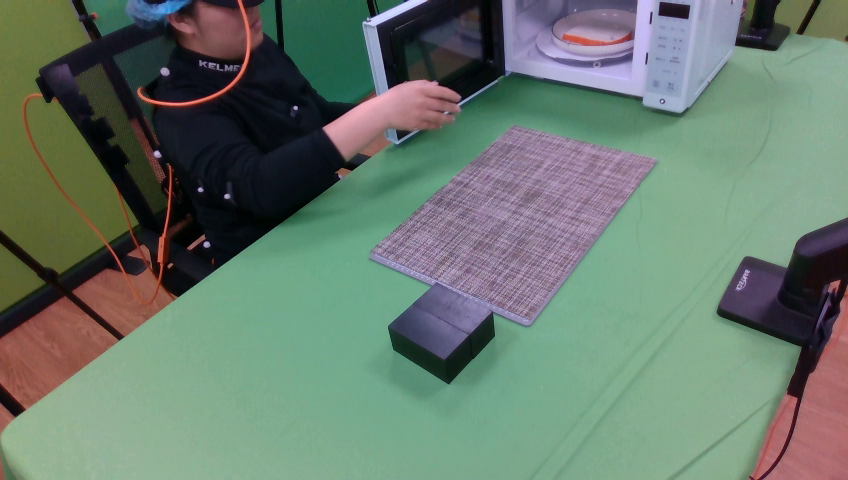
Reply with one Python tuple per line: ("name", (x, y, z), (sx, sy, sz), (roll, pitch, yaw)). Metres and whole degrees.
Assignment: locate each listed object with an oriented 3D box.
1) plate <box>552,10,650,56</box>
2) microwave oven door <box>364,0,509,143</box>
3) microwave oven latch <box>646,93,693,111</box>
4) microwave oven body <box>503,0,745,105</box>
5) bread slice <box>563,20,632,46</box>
("plate", (0.390, -0.455, 1.339), (0.209, 0.038, 0.208), (-6, 39, 5))
("microwave oven door", (0.042, -0.385, 1.237), (0.039, 0.245, 0.357), (29, 53, 37))
("microwave oven latch", (0.477, -0.273, 1.177), (0.078, 0.029, 0.030), (22, 50, 33))
("microwave oven body", (0.416, -0.486, 1.290), (0.438, 0.261, 0.327), (21, 50, 33))
("bread slice", (0.393, -0.455, 1.342), (0.105, 0.019, 0.130), (-36, 45, -26))
